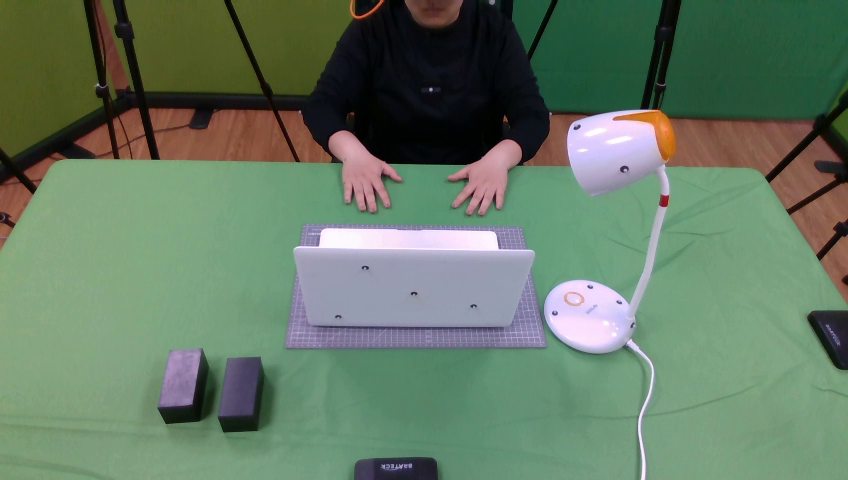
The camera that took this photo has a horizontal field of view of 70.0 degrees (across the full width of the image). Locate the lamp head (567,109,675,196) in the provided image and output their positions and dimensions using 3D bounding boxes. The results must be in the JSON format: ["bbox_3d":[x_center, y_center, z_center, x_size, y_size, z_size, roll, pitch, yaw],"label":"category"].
[{"bbox_3d":[0.272,-0.123,0.818,0.122,0.113,0.112,-9,35,37],"label":"lamp head"}]

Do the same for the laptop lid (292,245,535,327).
[{"bbox_3d":[-0.018,0.080,0.956,0.357,0.243,0.013,2,54,-5],"label":"laptop lid"}]

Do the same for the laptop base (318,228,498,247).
[{"bbox_3d":[-0.028,0.066,1.135,0.355,0.023,0.234,1,43,-4],"label":"laptop base"}]

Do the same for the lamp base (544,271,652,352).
[{"bbox_3d":[0.310,0.086,1.029,0.178,0.181,0.160,32,52,21],"label":"lamp base"}]
